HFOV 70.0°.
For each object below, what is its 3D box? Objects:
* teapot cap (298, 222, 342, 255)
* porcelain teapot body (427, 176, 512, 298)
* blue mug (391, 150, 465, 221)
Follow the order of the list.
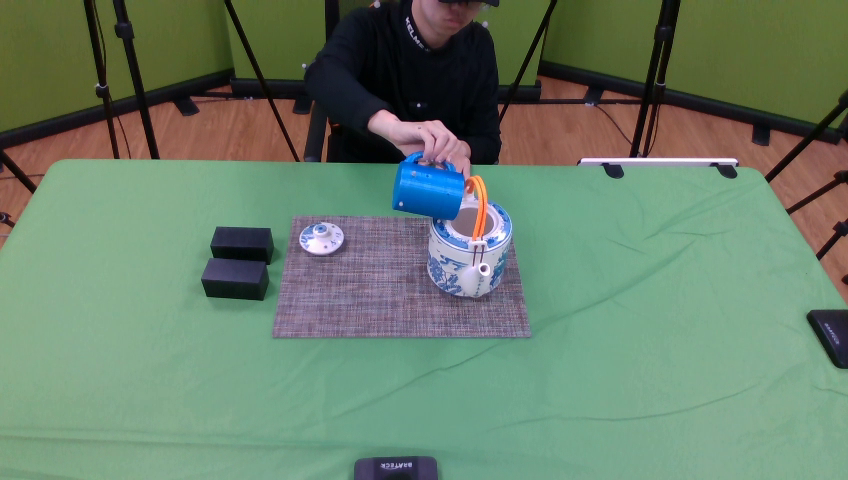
[{"bbox_3d":[-0.201,-0.008,1.171,0.085,0.044,0.084,1,48,-1],"label":"teapot cap"},{"bbox_3d":[0.085,0.009,1.051,0.145,0.226,0.204,-5,47,-8],"label":"porcelain teapot body"},{"bbox_3d":[0.007,-0.097,1.008,0.106,0.082,0.116,11,69,-11],"label":"blue mug"}]
